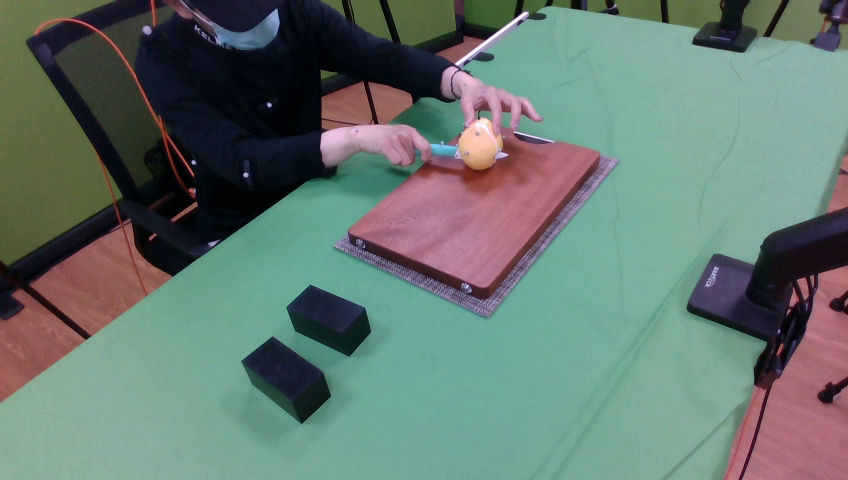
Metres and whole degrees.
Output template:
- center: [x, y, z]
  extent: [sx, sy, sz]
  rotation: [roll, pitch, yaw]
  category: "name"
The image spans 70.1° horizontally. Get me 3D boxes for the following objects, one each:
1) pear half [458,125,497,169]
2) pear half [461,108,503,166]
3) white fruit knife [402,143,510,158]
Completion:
- center: [0.089, -0.154, 1.040]
  extent: [0.070, 0.088, 0.031]
  rotation: [10, 49, 12]
  category: "pear half"
- center: [0.103, -0.188, 1.061]
  extent: [0.076, 0.110, 0.056]
  rotation: [11, 43, 16]
  category: "pear half"
- center: [0.053, -0.158, 1.076]
  extent: [0.206, 0.027, 0.016]
  rotation: [6, 43, 22]
  category: "white fruit knife"
